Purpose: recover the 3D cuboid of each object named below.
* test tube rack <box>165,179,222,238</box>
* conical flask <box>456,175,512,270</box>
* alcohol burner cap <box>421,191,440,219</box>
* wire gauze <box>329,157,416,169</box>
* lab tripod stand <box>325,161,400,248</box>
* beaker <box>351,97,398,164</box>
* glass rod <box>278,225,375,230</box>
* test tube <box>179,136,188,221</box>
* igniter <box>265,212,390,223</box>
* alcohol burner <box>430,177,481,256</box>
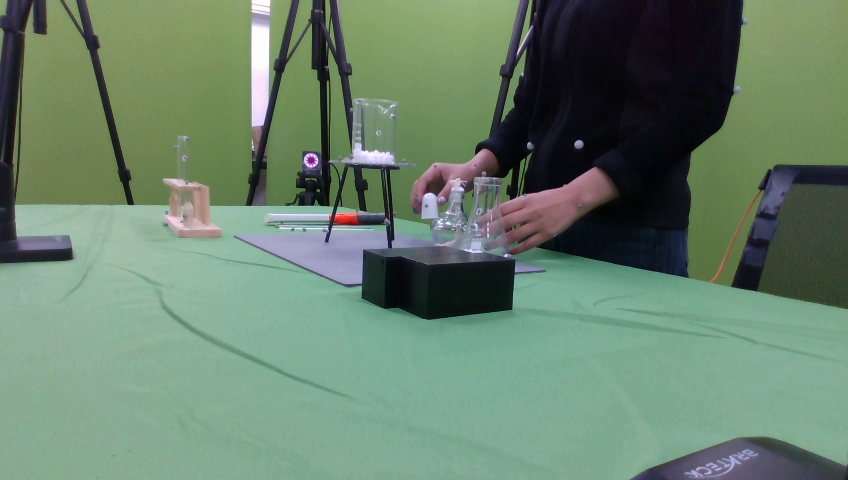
[{"bbox_3d":[-0.423,-0.062,1.098,0.067,0.085,0.241,-2,9,-28],"label":"test tube rack"},{"bbox_3d":[0.083,-0.025,0.801,0.075,0.122,0.075,2,7,0],"label":"conical flask"},{"bbox_3d":[0.011,-0.060,1.046,0.034,0.048,0.034,-2,3,0],"label":"alcohol burner cap"},{"bbox_3d":[-0.079,-0.125,0.972,0.121,0.011,0.125,6,6,5],"label":"wire gauze"},{"bbox_3d":[-0.083,-0.059,0.977,0.148,0.131,0.148,4,8,0],"label":"lab tripod stand"},{"bbox_3d":[-0.078,-0.172,0.962,0.074,0.100,0.084,6,8,19],"label":"beaker"},{"bbox_3d":[-0.186,-0.024,1.178,0.201,0.008,0.008,1,7,-31],"label":"glass rod"},{"bbox_3d":[-0.425,-0.108,1.070,0.017,0.150,0.017,4,9,0],"label":"test tube"},{"bbox_3d":[-0.196,-0.048,1.286,0.278,0.025,0.057,-2,-2,-30],"label":"igniter"},{"bbox_3d":[0.049,-0.036,0.913,0.078,0.119,0.078,4,9,0],"label":"alcohol burner"}]
